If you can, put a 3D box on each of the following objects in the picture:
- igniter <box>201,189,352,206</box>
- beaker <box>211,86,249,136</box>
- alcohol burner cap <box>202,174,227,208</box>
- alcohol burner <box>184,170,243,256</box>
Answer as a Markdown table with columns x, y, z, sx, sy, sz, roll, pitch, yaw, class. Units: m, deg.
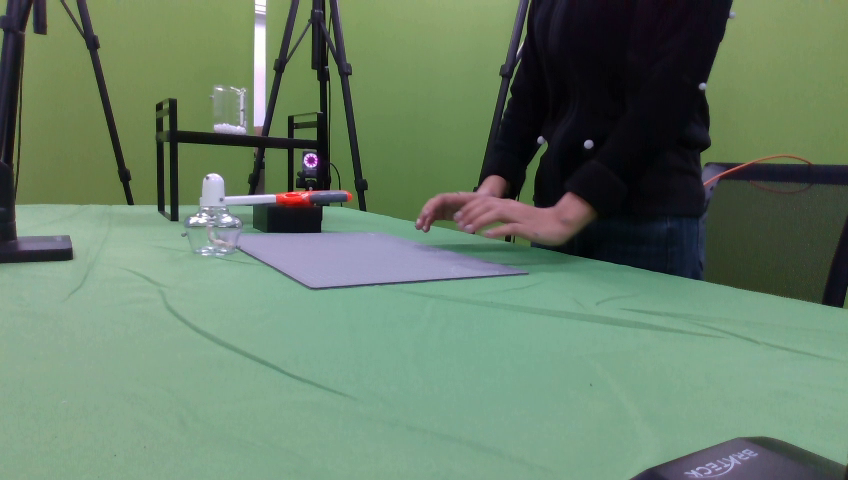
| x | y | z | sx | sy | sz | roll | pitch | yaw | class |
| --- | --- | --- | --- | --- | --- | --- | --- | --- | --- |
| -0.271 | -0.078 | 1.139 | 0.278 | 0.025 | 0.057 | -5 | 11 | -28 | igniter |
| -0.413 | -0.274 | 1.297 | 0.074 | 0.100 | 0.083 | -5 | 11 | -44 | beaker |
| -0.293 | -0.069 | 0.847 | 0.034 | 0.048 | 0.034 | 0 | 6 | 0 | alcohol burner cap |
| -0.296 | -0.038 | 0.851 | 0.078 | 0.119 | 0.078 | 2 | 5 | 0 | alcohol burner |
